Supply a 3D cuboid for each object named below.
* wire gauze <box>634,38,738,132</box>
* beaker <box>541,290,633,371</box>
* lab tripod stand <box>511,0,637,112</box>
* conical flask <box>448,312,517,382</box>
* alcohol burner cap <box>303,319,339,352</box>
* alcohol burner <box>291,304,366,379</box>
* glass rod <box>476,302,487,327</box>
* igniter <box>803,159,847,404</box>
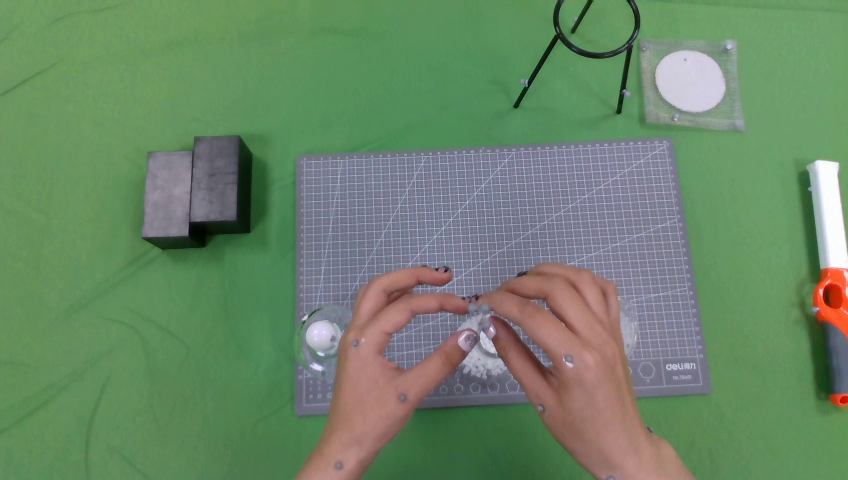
[{"bbox_3d":[0.324,-0.194,0.746,0.125,0.011,0.121,3,76,-1],"label":"wire gauze"},{"bbox_3d":[0.165,0.095,0.624,0.084,0.100,0.073,-36,78,-9],"label":"beaker"},{"bbox_3d":[0.172,-0.210,0.685,0.148,0.132,0.147,0,78,1],"label":"lab tripod stand"},{"bbox_3d":[0.063,0.103,0.610,0.075,0.122,0.075,0,75,0],"label":"conical flask"},{"bbox_3d":[-0.100,0.090,0.579,0.034,0.048,0.033,1,79,-3],"label":"alcohol burner cap"},{"bbox_3d":[-0.100,0.100,0.614,0.078,0.120,0.077,-1,75,2],"label":"alcohol burner"},{"bbox_3d":[0.040,0.055,0.434,0.008,0.200,0.008,-1,79,5],"label":"glass rod"},{"bbox_3d":[0.455,0.042,0.677,0.057,0.025,0.275,5,76,-10],"label":"igniter"}]
